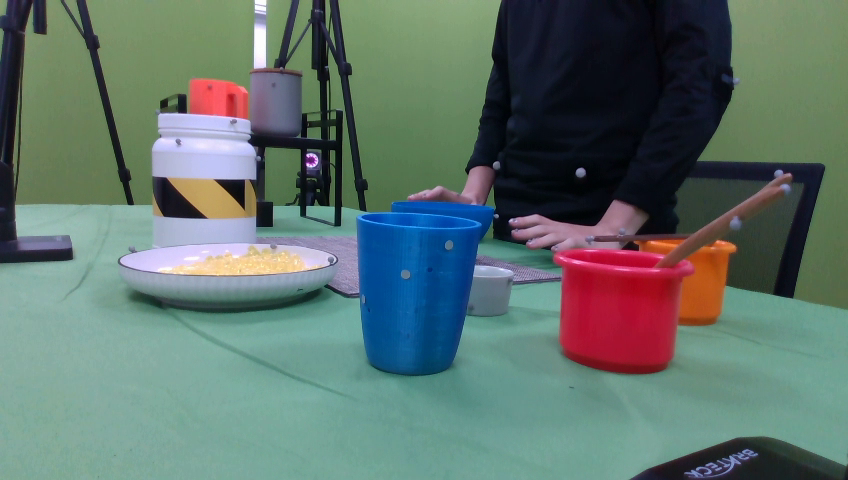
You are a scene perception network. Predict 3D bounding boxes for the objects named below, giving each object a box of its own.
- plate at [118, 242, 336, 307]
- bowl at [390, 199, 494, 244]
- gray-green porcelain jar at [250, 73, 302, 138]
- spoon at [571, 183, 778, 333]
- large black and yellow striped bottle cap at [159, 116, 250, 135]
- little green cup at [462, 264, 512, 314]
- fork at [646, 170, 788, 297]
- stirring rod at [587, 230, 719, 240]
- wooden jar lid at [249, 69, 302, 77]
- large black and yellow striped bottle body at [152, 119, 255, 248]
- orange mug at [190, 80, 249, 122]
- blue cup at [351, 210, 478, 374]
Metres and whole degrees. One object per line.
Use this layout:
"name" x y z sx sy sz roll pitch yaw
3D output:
"plate" -0.194 0.033 0.615 0.209 0.038 0.209 2 7 0
"bowl" 0.024 -0.015 0.871 0.151 0.077 0.151 3 7 0
"gray-green porcelain jar" -0.312 -0.280 1.270 0.106 0.126 0.106 3 8 0
"spoon" 0.161 0.020 0.413 0.042 0.021 0.193 1 -37 -24
"large black and yellow striped bottle cap" -0.292 -0.153 0.810 0.115 0.019 0.115 3 8 0
"little green cup" 0.053 0.047 0.580 0.061 0.038 0.061 3 8 0
"fork" 0.256 0.004 0.543 0.028 0.018 0.207 3 -36 -9
"stirring rod" 0.226 -0.005 0.587 0.177 0.006 0.014 -2 10 -29
"wooden jar lid" -0.309 -0.341 1.262 0.108 0.020 0.108 1 8 0
"large black and yellow striped bottle body" -0.296 -0.070 0.819 0.131 0.184 0.130 2 7 0
"orange mug" -0.393 -0.257 1.173 0.126 0.100 0.084 1 6 25
"blue cup" -0.009 0.034 0.414 0.093 0.100 0.092 4 8 0
